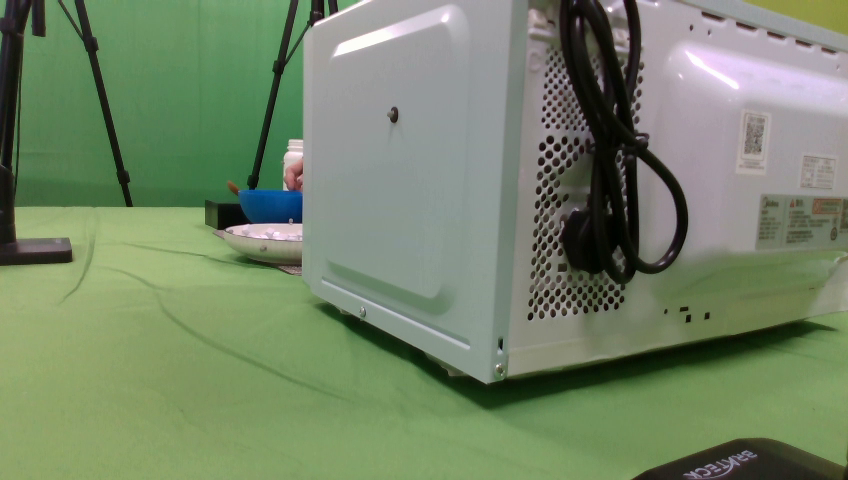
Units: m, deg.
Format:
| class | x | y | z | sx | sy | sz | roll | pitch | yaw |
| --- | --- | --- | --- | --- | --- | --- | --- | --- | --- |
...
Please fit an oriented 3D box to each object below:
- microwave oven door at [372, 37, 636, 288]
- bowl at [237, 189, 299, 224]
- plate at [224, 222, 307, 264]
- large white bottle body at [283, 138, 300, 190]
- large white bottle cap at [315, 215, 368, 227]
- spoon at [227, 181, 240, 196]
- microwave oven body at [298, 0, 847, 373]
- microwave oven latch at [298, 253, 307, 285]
| class | x | y | z | sx | sy | sz | roll | pitch | yaw |
| --- | --- | --- | --- | --- | --- | --- | --- | --- | --- |
| microwave oven door | 0.110 | -0.080 | 0.686 | 0.358 | 0.243 | 0.039 | -2 | 9 | -33 |
| bowl | -0.247 | -0.046 | 1.054 | 0.151 | 0.077 | 0.151 | 3 | 8 | 0 |
| plate | -0.171 | 0.004 | 0.849 | 0.209 | 0.038 | 0.209 | 2 | 7 | 0 |
| large white bottle body | -0.265 | -0.144 | 1.424 | 0.131 | 0.184 | 0.130 | 2 | 7 | 0 |
| large white bottle cap | -0.178 | -0.041 | 1.309 | 0.115 | 0.018 | 0.115 | 2 | 6 | 0 |
| spoon | -0.315 | -0.074 | 1.235 | 0.195 | 0.021 | 0.041 | 24 | -10 | -37 |
| microwave oven body | 0.151 | -0.055 | 0.542 | 0.444 | 0.260 | 0.324 | -2 | 7 | -33 |
| microwave oven latch | -0.081 | 0.027 | 0.582 | 0.079 | 0.029 | 0.030 | -1 | 7 | -32 |
